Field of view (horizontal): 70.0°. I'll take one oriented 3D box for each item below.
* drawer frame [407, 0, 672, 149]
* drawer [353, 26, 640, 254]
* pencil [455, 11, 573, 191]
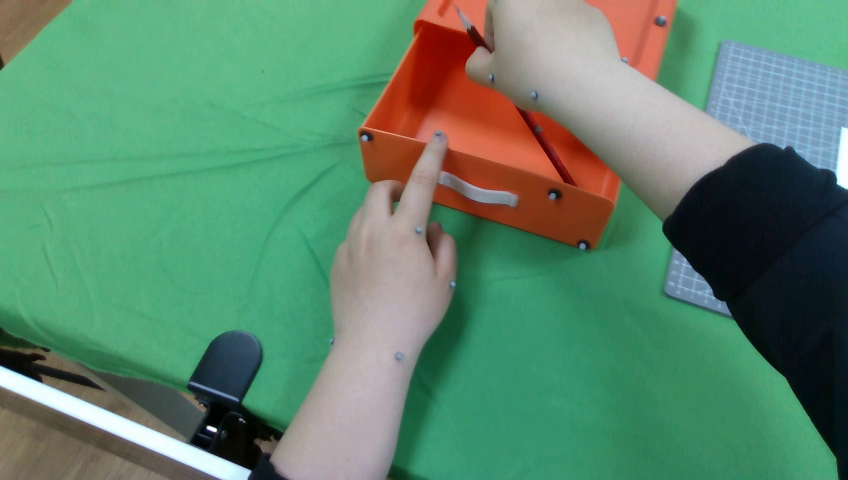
[{"bbox_3d":[0.116,-0.209,0.560,0.201,0.083,0.212,18,60,11],"label":"drawer frame"},{"bbox_3d":[0.073,-0.113,0.505,0.194,0.074,0.210,18,60,11],"label":"drawer"},{"bbox_3d":[0.077,-0.090,0.462,0.012,0.012,0.194,-38,100,-20],"label":"pencil"}]
